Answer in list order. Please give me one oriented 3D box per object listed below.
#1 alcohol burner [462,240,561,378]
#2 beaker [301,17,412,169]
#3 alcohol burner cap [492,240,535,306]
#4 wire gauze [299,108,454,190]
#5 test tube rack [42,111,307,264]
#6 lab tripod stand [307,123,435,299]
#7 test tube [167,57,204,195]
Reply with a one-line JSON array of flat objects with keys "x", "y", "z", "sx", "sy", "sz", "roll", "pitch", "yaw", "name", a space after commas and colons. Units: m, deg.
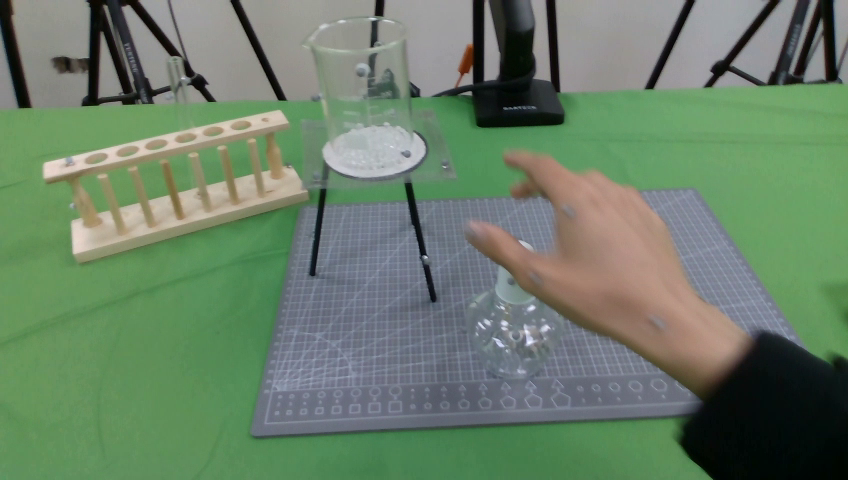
[{"x": 0.069, "y": 0.050, "z": 0.471, "sx": 0.078, "sy": 0.120, "sz": 0.077, "roll": -1, "pitch": 37, "yaw": 1, "name": "alcohol burner"}, {"x": -0.049, "y": -0.114, "z": 0.481, "sx": 0.084, "sy": 0.101, "sz": 0.073, "roll": -1, "pitch": 38, "yaw": 2, "name": "beaker"}, {"x": 0.067, "y": 0.022, "z": 0.448, "sx": 0.034, "sy": 0.048, "sz": 0.033, "roll": -2, "pitch": 40, "yaw": 2, "name": "alcohol burner cap"}, {"x": -0.045, "y": -0.078, "z": 0.514, "sx": 0.125, "sy": 0.011, "sz": 0.120, "roll": -8, "pitch": 37, "yaw": -3, "name": "wire gauze"}, {"x": -0.258, "y": -0.061, "z": 0.649, "sx": 0.243, "sy": 0.086, "sz": 0.066, "roll": -18, "pitch": 41, "yaw": -20, "name": "test tube rack"}, {"x": -0.043, "y": -0.027, "z": 0.556, "sx": 0.148, "sy": 0.133, "sz": 0.147, "roll": -1, "pitch": 40, "yaw": 2, "name": "lab tripod stand"}, {"x": -0.249, "y": -0.115, "z": 0.637, "sx": 0.017, "sy": 0.151, "sz": 0.017, "roll": 2, "pitch": 33, "yaw": -1, "name": "test tube"}]
